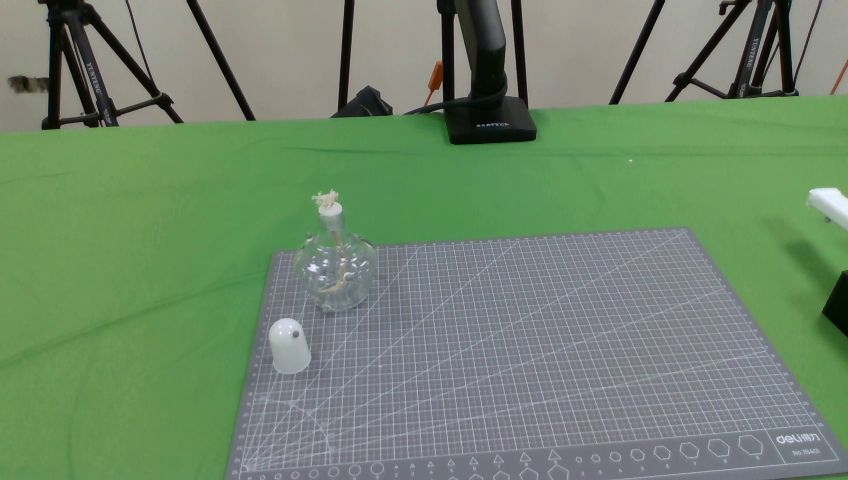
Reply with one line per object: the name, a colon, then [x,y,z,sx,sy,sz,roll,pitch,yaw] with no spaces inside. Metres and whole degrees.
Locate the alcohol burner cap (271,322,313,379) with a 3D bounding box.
alcohol burner cap: [-0.111,0.089,0.506,0.034,0.048,0.033,0,37,0]

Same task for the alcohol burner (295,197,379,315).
alcohol burner: [-0.080,0.010,0.550,0.078,0.120,0.077,1,39,0]

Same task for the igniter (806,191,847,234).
igniter: [0.426,0.029,0.511,0.057,0.025,0.273,-5,33,-5]
